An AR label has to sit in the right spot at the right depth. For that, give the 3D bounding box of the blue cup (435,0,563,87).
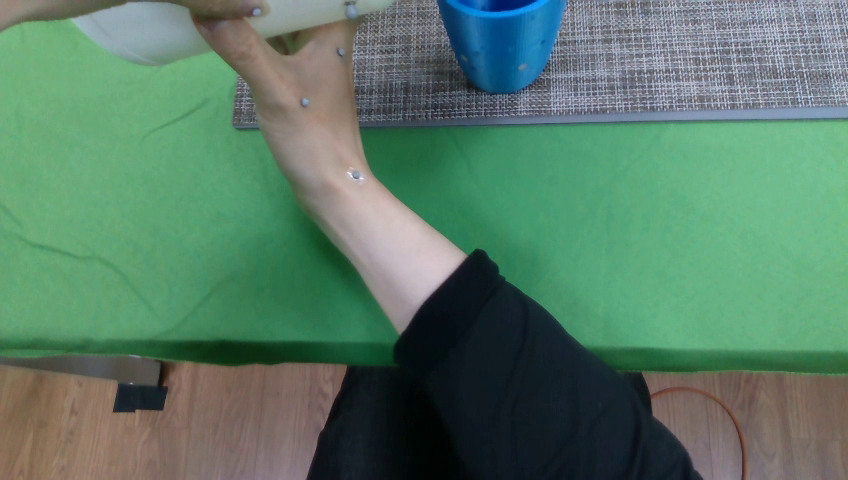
[{"bbox_3d":[0.048,-0.149,0.385,0.092,0.101,0.092,-2,72,7],"label":"blue cup"}]

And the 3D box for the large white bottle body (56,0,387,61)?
[{"bbox_3d":[-0.084,-0.173,0.298,0.184,0.131,0.130,-10,72,11],"label":"large white bottle body"}]

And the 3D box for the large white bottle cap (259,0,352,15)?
[{"bbox_3d":[-0.088,-0.227,0.466,0.115,0.018,0.114,-1,74,5],"label":"large white bottle cap"}]
